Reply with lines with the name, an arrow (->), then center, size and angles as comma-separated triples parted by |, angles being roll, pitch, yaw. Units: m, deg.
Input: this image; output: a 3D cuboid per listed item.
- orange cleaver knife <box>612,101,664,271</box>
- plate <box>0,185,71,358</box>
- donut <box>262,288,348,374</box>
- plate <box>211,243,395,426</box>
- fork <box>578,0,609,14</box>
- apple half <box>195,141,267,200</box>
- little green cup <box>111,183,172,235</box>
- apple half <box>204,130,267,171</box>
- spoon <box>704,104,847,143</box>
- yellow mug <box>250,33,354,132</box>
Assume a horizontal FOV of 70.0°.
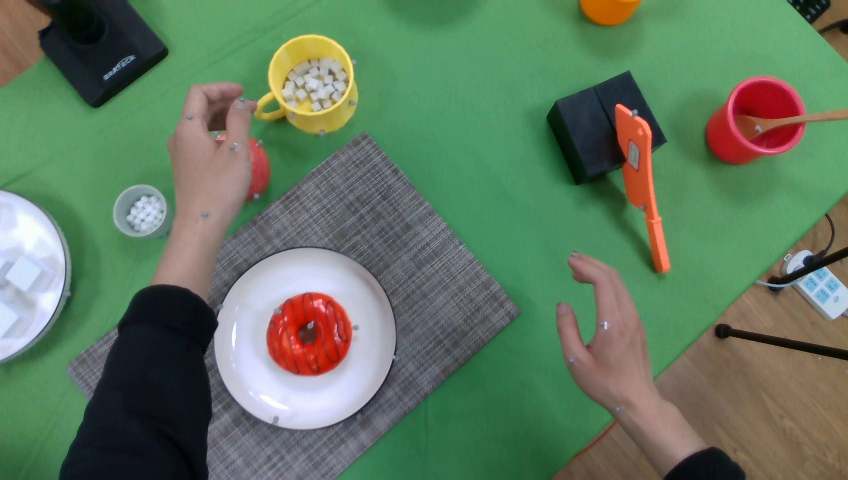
orange cleaver knife -> 0.256, -0.063, 0.727 | 0.012, 0.076, 0.213 | -21, 115, -4
plate -> -0.512, 0.038, 0.703 | 0.208, 0.039, 0.207 | 0, 82, -2
donut -> -0.136, 0.104, 0.695 | 0.099, 0.048, 0.099 | 0, 83, -2
plate -> -0.138, 0.108, 0.705 | 0.209, 0.038, 0.208 | 0, 82, -2
fork -> 0.277, -0.355, 0.740 | 0.207, 0.019, 0.028 | -37, 80, 36
apple half -> -0.232, -0.075, 0.715 | 0.081, 0.074, 0.053 | 24, 85, -2
little green cup -> -0.333, -0.034, 0.722 | 0.061, 0.039, 0.061 | 0, 81, -2
apple half -> -0.217, -0.110, 0.720 | 0.081, 0.081, 0.033 | 23, 85, 2
spoon -> 0.437, -0.145, 0.720 | 0.192, 0.022, 0.041 | -2, 72, 42
yellow mug -> -0.152, -0.183, 0.738 | 0.131, 0.064, 0.099 | -29, 84, -6
